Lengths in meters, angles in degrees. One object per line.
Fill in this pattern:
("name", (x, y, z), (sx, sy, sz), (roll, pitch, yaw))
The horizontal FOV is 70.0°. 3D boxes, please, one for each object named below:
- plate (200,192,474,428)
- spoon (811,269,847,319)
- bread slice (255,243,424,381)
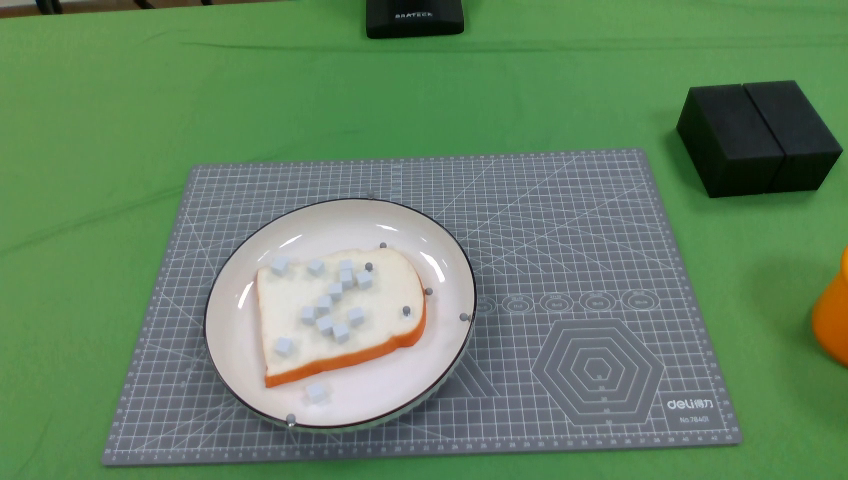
("plate", (-0.065, 0.050, 0.475), (0.209, 0.038, 0.207), (-1, 52, 1))
("spoon", (0.366, 0.023, 0.406), (0.193, 0.022, 0.041), (-18, 40, 42))
("bread slice", (-0.067, 0.047, 0.481), (0.132, 0.019, 0.103), (-14, 54, -7))
